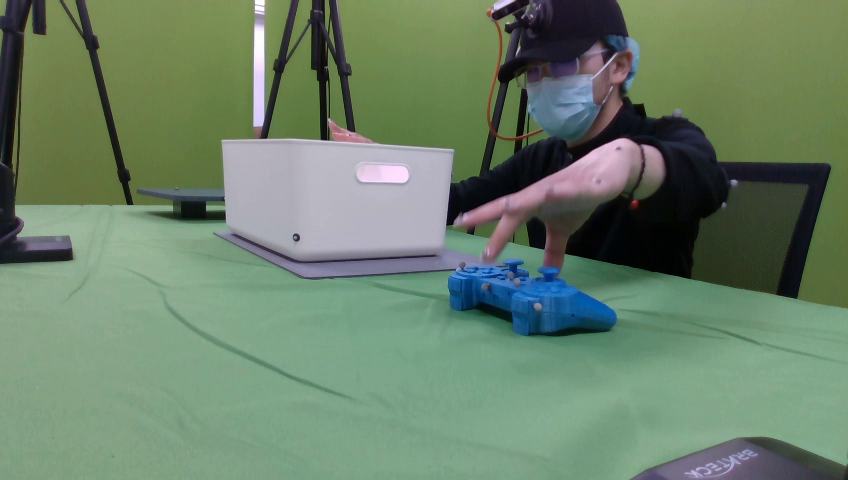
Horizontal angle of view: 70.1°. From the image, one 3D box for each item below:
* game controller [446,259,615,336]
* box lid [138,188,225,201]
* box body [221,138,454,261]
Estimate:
[{"bbox_3d":[0.091,0.048,0.562,0.097,0.051,0.154,-6,10,-32],"label":"game controller"},{"bbox_3d":[-0.433,-0.105,1.395,0.373,0.015,0.262,-5,10,-44],"label":"box lid"},{"bbox_3d":[-0.151,-0.074,0.963,0.255,0.160,0.362,-3,9,-33],"label":"box body"}]
